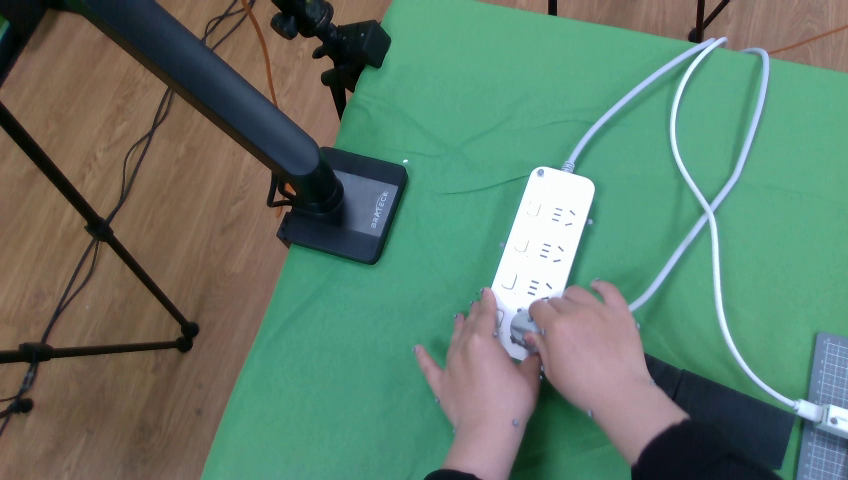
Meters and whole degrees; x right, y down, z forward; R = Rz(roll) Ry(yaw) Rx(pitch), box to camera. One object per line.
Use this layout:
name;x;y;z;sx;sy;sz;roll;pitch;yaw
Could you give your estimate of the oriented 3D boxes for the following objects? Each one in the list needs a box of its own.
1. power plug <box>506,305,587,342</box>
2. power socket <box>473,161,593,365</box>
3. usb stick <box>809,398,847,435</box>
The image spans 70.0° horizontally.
power plug;0.113;0.091;0.587;0.072;0.053;0.035;33;71;10
power socket;0.115;0.019;0.629;0.072;0.033;0.226;18;74;11
usb stick;0.386;0.164;0.549;0.059;0.027;0.021;20;71;7
